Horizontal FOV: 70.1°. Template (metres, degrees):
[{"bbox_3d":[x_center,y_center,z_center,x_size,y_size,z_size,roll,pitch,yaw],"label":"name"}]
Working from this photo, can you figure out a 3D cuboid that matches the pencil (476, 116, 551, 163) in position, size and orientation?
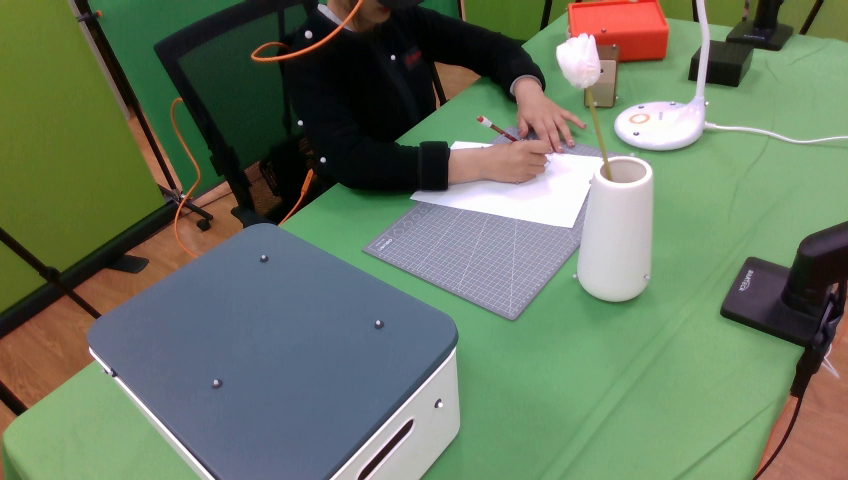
[{"bbox_3d":[0.162,-0.174,1.066,0.012,0.196,0.012,-27,52,42],"label":"pencil"}]

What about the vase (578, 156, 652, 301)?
[{"bbox_3d":[0.261,-0.011,0.812,0.098,0.201,0.097,-4,40,4],"label":"vase"}]

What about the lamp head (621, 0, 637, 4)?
[{"bbox_3d":[0.319,-0.453,0.962,0.113,0.123,0.112,20,33,-13],"label":"lamp head"}]

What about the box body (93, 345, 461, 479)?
[{"bbox_3d":[-0.162,0.170,0.708,0.361,0.161,0.255,25,50,34],"label":"box body"}]

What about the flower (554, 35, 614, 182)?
[{"bbox_3d":[0.237,-0.083,0.774,0.044,0.363,0.038,-22,26,7],"label":"flower"}]

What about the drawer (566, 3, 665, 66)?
[{"bbox_3d":[0.447,-0.493,1.440,0.211,0.073,0.194,0,40,10],"label":"drawer"}]

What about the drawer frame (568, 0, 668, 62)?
[{"bbox_3d":[0.450,-0.496,1.441,0.213,0.083,0.201,-1,40,9],"label":"drawer frame"}]

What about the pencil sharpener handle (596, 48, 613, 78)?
[{"bbox_3d":[0.382,-0.378,1.277,0.036,0.068,0.030,4,41,21],"label":"pencil sharpener handle"}]

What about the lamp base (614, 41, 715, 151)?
[{"bbox_3d":[0.449,-0.277,1.106,0.179,0.181,0.160,1,41,9],"label":"lamp base"}]

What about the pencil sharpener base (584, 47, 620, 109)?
[{"bbox_3d":[0.367,-0.336,1.249,0.061,0.107,0.076,6,42,19],"label":"pencil sharpener base"}]

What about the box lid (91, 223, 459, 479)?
[{"bbox_3d":[-0.174,0.103,0.667,0.368,0.015,0.264,24,48,35],"label":"box lid"}]

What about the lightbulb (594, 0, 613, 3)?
[{"bbox_3d":[0.305,-0.437,0.977,0.060,0.107,0.059,12,43,-11],"label":"lightbulb"}]
